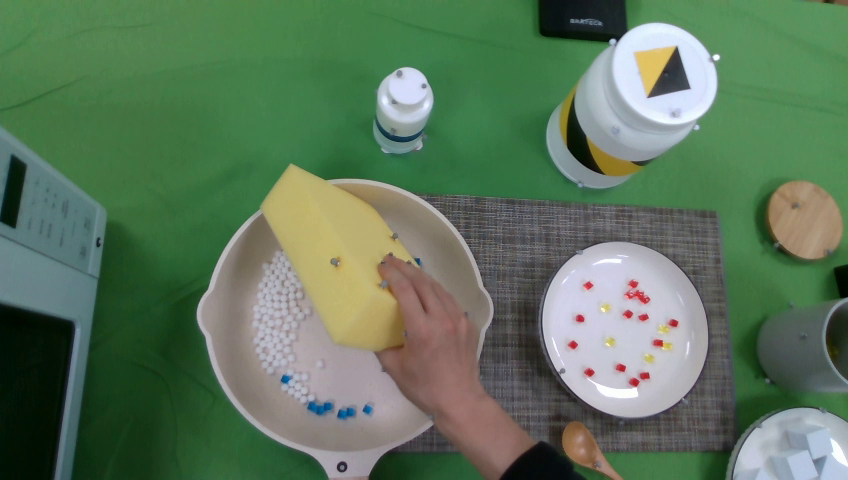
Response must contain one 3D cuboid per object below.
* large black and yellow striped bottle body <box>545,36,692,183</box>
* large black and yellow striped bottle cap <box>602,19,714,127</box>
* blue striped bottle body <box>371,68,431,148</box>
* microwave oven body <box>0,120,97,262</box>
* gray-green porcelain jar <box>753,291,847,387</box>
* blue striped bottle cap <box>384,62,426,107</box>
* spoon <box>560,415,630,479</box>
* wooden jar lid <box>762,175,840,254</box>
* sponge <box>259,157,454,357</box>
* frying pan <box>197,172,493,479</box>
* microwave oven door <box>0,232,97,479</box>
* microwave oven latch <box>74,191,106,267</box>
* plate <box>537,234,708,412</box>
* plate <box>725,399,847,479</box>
[{"bbox_3d":[0.229,-0.154,0.705,0.131,0.184,0.130,2,77,-8],"label":"large black and yellow striped bottle body"},{"bbox_3d":[0.241,-0.172,0.622,0.115,0.019,0.114,2,77,-7],"label":"large black and yellow striped bottle cap"},{"bbox_3d":[-0.027,-0.156,0.698,0.063,0.121,0.063,2,78,-8],"label":"blue striped bottle body"},{"bbox_3d":[-0.496,0.132,0.492,0.327,0.260,0.439,3,78,-8],"label":"microwave oven body"},{"bbox_3d":[0.466,0.120,0.713,0.106,0.127,0.105,2,78,-8],"label":"gray-green porcelain jar"},{"bbox_3d":[-0.020,-0.167,0.648,0.044,0.021,0.044,2,75,-6],"label":"blue striped bottle cap"},{"bbox_3d":[0.226,0.274,0.696,0.193,0.022,0.041,43,58,0],"label":"spoon"},{"bbox_3d":[0.498,-0.033,0.804,0.108,0.021,0.108,2,80,-8],"label":"wooden jar lid"},{"bbox_3d":[-0.073,0.015,0.607,0.061,0.119,0.204,-49,50,15],"label":"sponge"},{"bbox_3d":[-0.079,0.171,0.628,0.307,0.103,0.484,1,70,-6],"label":"frying pan"},{"bbox_3d":[-0.353,0.180,0.498,0.039,0.244,0.354,3,77,-8],"label":"microwave oven door"},{"bbox_3d":[-0.359,-0.012,0.642,0.030,0.029,0.079,6,78,-8],"label":"microwave oven latch"},{"bbox_3d":[0.233,0.097,0.724,0.209,0.038,0.208,2,78,-8],"label":"plate"},{"bbox_3d":[0.450,0.295,0.720,0.208,0.039,0.206,2,78,-8],"label":"plate"}]
